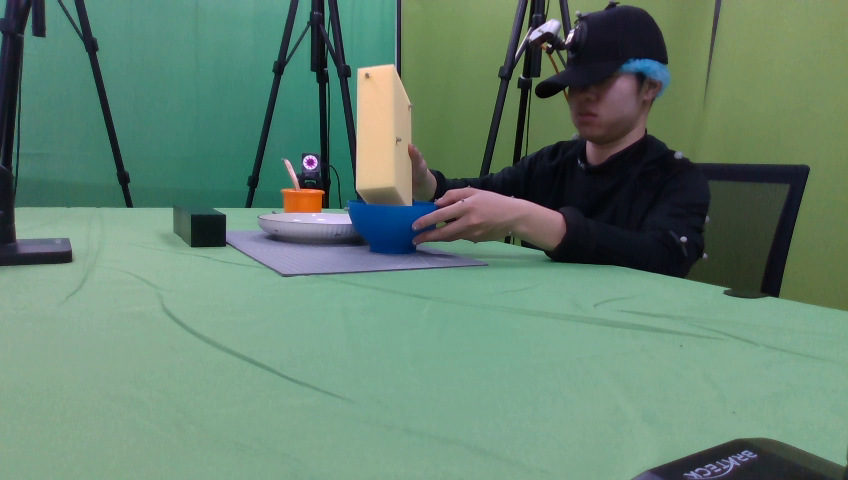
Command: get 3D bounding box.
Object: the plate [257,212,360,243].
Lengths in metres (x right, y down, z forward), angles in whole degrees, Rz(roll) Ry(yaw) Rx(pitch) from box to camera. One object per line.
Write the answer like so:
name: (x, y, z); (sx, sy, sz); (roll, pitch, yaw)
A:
plate: (-0.189, -0.023, 1.072); (0.209, 0.038, 0.209); (3, 7, 0)

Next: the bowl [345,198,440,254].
bowl: (-0.050, -0.021, 0.951); (0.151, 0.077, 0.151); (3, 8, 0)

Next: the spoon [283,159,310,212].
spoon: (-0.279, -0.111, 1.324); (0.042, 0.193, 0.021); (3, -39, -35)

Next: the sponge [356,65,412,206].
sponge: (-0.063, -0.154, 0.963); (0.061, 0.206, 0.118); (-5, -18, 10)
